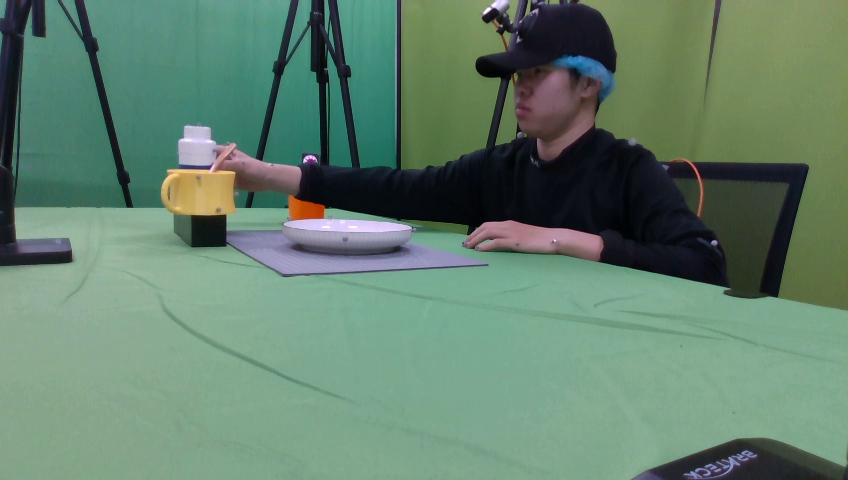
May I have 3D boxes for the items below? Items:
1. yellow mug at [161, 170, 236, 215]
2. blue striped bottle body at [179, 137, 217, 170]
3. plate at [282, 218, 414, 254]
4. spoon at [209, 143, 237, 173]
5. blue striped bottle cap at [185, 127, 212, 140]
[{"bbox_3d":[-0.354,-0.074,0.935,0.099,0.064,0.131,5,9,21],"label":"yellow mug"},{"bbox_3d":[-0.401,-0.138,1.075,0.063,0.121,0.063,3,10,0],"label":"blue striped bottle body"},{"bbox_3d":[-0.121,-0.007,0.971,0.208,0.039,0.207,2,7,0],"label":"plate"},{"bbox_3d":[-0.341,-0.113,0.990,0.041,0.021,0.193,0,39,7],"label":"spoon"},{"bbox_3d":[-0.398,-0.188,1.068,0.044,0.020,0.044,4,12,-1],"label":"blue striped bottle cap"}]
